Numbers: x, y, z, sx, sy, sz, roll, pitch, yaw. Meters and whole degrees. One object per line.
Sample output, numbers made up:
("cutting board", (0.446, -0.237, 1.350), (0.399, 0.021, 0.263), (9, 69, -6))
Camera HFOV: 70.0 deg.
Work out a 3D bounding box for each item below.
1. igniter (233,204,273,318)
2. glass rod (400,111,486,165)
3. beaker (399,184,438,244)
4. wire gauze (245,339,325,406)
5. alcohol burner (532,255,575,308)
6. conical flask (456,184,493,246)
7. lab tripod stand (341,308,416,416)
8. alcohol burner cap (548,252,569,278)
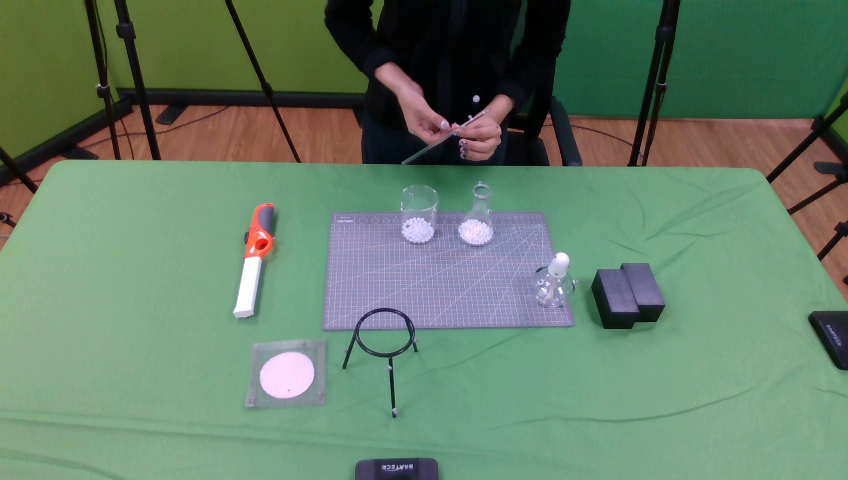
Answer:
("igniter", (-0.321, 0.029, 1.143), (0.057, 0.025, 0.274), (-7, 46, 4))
("glass rod", (0.033, -0.192, 1.153), (0.199, 0.008, 0.008), (-28, 40, 24))
("beaker", (-0.014, -0.046, 1.186), (0.073, 0.101, 0.084), (36, 54, 27))
("wire gauze", (-0.224, 0.214, 0.984), (0.125, 0.011, 0.120), (-2, 46, -5))
("alcohol burner", (0.235, 0.066, 1.087), (0.078, 0.119, 0.077), (4, 45, -3))
("conical flask", (0.106, -0.052, 1.185), (0.075, 0.122, 0.075), (3, 46, -2))
("lab tripod stand", (-0.061, 0.177, 0.946), (0.148, 0.132, 0.147), (2, 44, -2))
("alcohol burner cap", (0.238, 0.042, 1.060), (0.034, 0.048, 0.033), (1, 54, -1))
